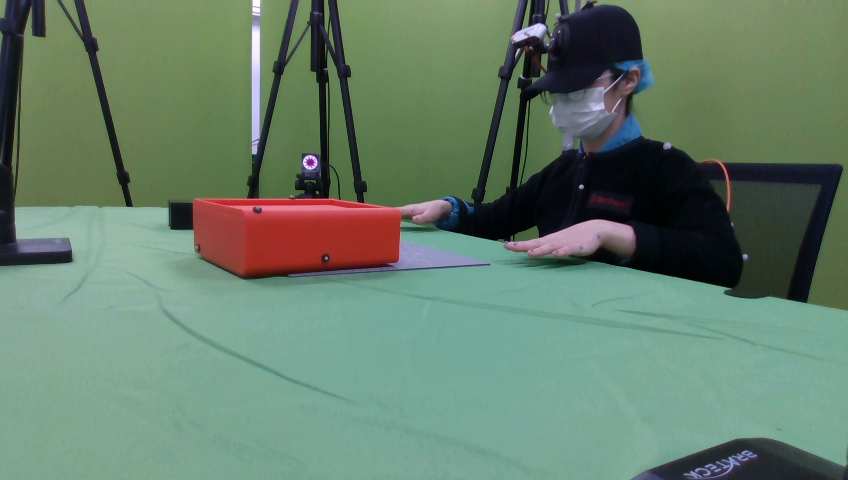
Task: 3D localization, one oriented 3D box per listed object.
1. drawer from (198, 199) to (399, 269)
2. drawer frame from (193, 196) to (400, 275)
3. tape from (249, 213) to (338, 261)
[{"bbox_3d":[-0.171,-0.014,0.818,0.213,0.073,0.193,-4,10,-36],"label":"drawer"},{"bbox_3d":[-0.173,-0.014,0.815,0.215,0.082,0.200,-4,10,-37],"label":"drawer frame"},{"bbox_3d":[-0.174,-0.006,0.813,0.117,0.052,0.117,2,7,0],"label":"tape"}]
